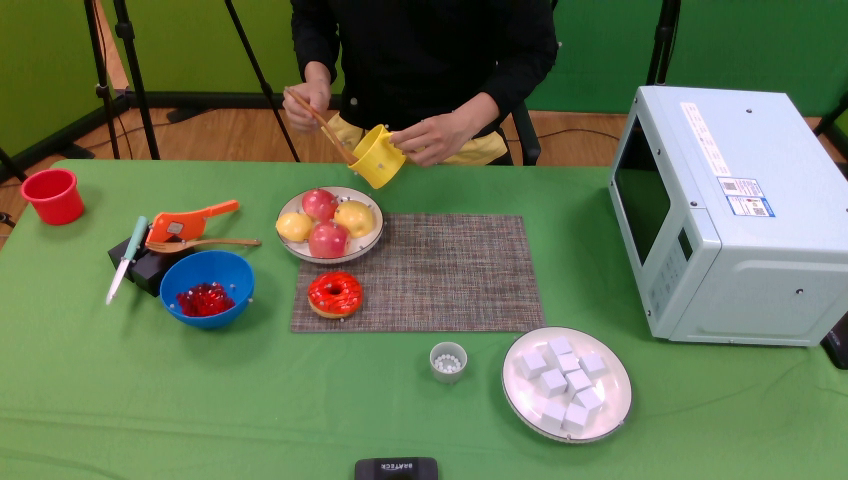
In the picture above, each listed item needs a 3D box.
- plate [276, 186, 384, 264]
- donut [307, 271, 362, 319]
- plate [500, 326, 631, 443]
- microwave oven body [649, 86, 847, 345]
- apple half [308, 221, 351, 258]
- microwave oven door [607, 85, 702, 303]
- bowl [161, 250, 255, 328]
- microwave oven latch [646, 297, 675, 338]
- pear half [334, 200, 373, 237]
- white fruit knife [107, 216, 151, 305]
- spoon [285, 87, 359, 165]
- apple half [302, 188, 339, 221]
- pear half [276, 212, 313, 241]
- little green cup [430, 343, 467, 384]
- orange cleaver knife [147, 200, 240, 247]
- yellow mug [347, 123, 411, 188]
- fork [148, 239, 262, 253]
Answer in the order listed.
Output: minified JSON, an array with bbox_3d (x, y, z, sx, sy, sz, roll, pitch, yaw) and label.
[{"bbox_3d":[-0.184,-0.027,1.195,0.209,0.038,0.208,2,46,-2],"label":"plate"},{"bbox_3d":[-0.157,0.097,1.072,0.099,0.048,0.098,4,45,-4],"label":"donut"},{"bbox_3d":[0.224,0.234,0.978,0.208,0.039,0.206,2,46,-2],"label":"plate"},{"bbox_3d":[0.567,-0.053,1.118,0.326,0.261,0.439,2,45,-1],"label":"microwave oven body"},{"bbox_3d":[-0.180,-0.005,1.150,0.074,0.053,0.080,14,43,8],"label":"apple half"},{"bbox_3d":[0.423,-0.094,1.140,0.039,0.245,0.353,2,46,-1],"label":"microwave oven door"},{"bbox_3d":[-0.362,0.097,1.040,0.151,0.077,0.150,2,45,-2],"label":"bowl"},{"bbox_3d":[0.412,0.134,1.061,0.030,0.029,0.078,4,45,1],"label":"microwave oven latch"},{"bbox_3d":[-0.147,-0.059,1.210,0.076,0.056,0.109,-17,43,-25],"label":"pear half"},{"bbox_3d":[-0.519,0.032,1.067,0.027,0.016,0.206,-19,45,19],"label":"white fruit knife"},{"bbox_3d":[-0.173,-0.197,1.067,0.021,0.195,0.041,-32,29,15],"label":"spoon"},{"bbox_3d":[-0.205,-0.076,1.217,0.081,0.033,0.081,18,46,-19],"label":"apple half"},{"bbox_3d":[-0.244,-0.035,1.178,0.070,0.031,0.088,40,42,1],"label":"pear half"},{"bbox_3d":[0.039,0.203,0.993,0.061,0.039,0.061,2,46,-2],"label":"little green cup"},{"bbox_3d":[-0.435,-0.033,1.157,0.012,0.077,0.211,31,26,18],"label":"orange cleaver knife"},{"bbox_3d":[-0.075,-0.157,1.088,0.064,0.131,0.099,38,53,-23],"label":"yellow mug"},{"bbox_3d":[-0.398,0.008,1.117,0.208,0.019,0.028,-5,34,-37],"label":"fork"}]
